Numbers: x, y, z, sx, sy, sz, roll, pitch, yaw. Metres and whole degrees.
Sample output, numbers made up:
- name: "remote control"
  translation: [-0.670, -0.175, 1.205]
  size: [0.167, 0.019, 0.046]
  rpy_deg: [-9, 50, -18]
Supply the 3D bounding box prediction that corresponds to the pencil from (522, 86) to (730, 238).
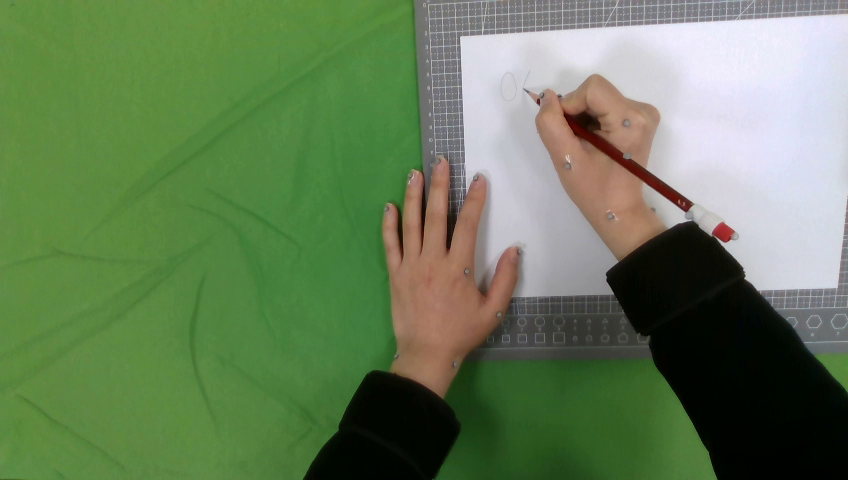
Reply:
- name: "pencil"
  translation: [0.126, -0.062, 0.411]
  size: [0.012, 0.012, 0.192]
  rpy_deg: [-51, 52, 13]
